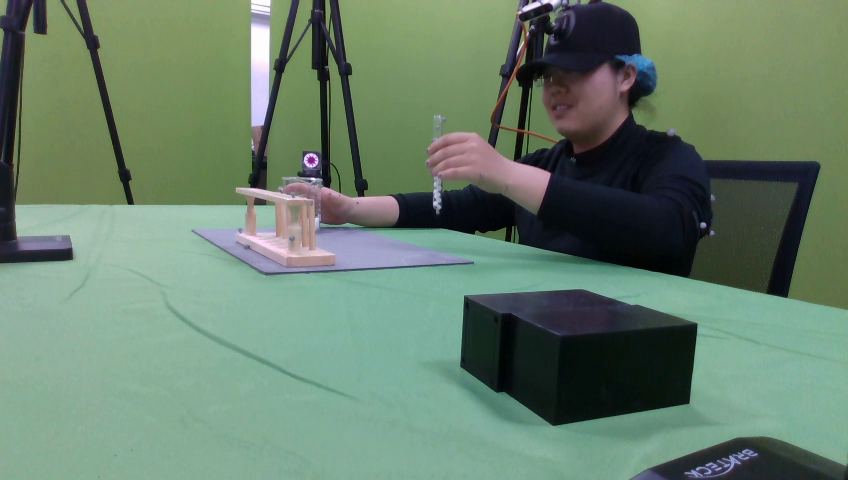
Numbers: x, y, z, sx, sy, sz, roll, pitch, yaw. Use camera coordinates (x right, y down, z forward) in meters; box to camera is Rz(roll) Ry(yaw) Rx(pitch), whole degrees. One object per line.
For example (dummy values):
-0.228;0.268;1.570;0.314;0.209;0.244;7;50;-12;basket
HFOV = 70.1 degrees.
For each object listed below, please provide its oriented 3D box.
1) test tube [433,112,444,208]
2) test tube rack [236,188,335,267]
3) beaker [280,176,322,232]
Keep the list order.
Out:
0.022;-0.125;0.952;0.017;0.150;0.017;1;4;0;test tube
-0.202;-0.024;0.855;0.067;0.085;0.241;-2;9;-31;test tube rack
-0.224;-0.065;1.111;0.074;0.100;0.083;-2;10;-30;beaker
